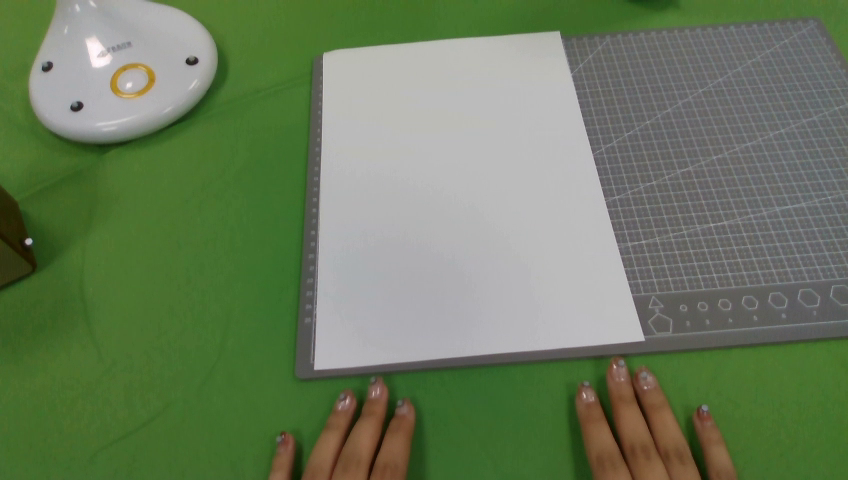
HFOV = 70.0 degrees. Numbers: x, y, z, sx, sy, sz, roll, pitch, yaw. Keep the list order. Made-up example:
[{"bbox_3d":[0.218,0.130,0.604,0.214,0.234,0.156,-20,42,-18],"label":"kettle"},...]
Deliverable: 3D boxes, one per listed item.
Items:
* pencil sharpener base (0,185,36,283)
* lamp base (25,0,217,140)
[{"bbox_3d":[-0.325,-0.021,0.404,0.061,0.108,0.076,-29,60,-14],"label":"pencil sharpener base"},{"bbox_3d":[-0.275,-0.197,0.469,0.160,0.182,0.177,-38,61,-19],"label":"lamp base"}]
